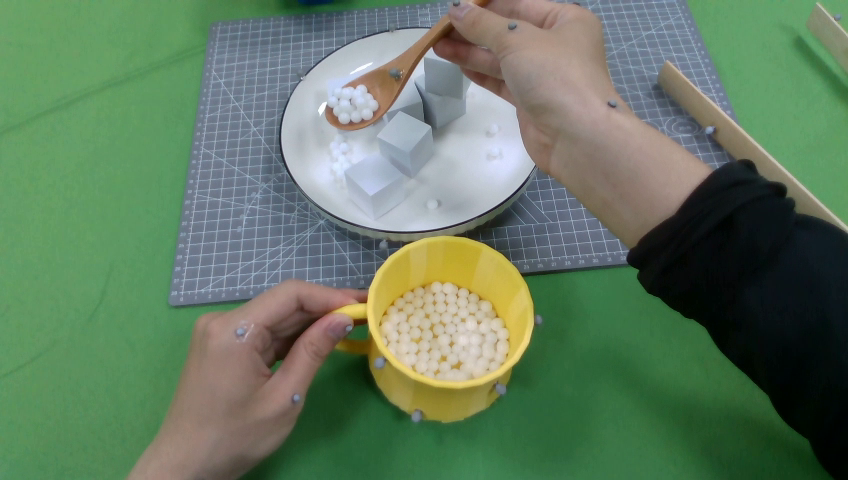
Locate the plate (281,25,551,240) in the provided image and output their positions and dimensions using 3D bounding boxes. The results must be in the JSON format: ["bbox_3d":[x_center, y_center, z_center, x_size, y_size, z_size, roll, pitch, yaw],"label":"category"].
[{"bbox_3d":[-0.006,-0.086,0.482,0.207,0.039,0.206,-2,60,3],"label":"plate"}]

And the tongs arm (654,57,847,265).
[{"bbox_3d":[0.299,-0.005,0.425,0.028,0.028,0.384,-28,63,-16],"label":"tongs arm"}]

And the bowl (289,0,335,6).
[{"bbox_3d":[-0.111,-0.281,0.579,0.151,0.077,0.150,-2,60,3],"label":"bowl"}]

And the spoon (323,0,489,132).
[{"bbox_3d":[0.011,-0.133,0.387,0.194,0.022,0.041,-36,61,20],"label":"spoon"}]

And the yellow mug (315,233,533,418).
[{"bbox_3d":[-0.002,0.055,0.379,0.131,0.064,0.099,-2,58,-6],"label":"yellow mug"}]

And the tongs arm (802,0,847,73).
[{"bbox_3d":[0.373,-0.037,0.435,0.051,0.027,0.381,-18,62,-7],"label":"tongs arm"}]
